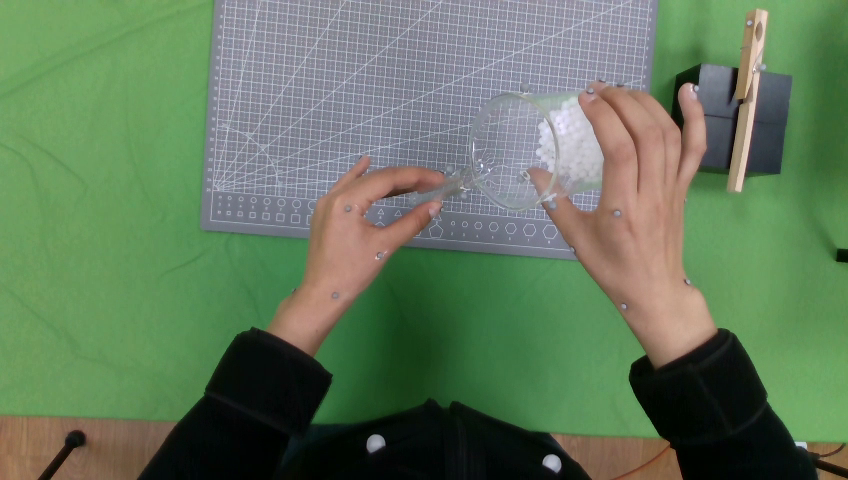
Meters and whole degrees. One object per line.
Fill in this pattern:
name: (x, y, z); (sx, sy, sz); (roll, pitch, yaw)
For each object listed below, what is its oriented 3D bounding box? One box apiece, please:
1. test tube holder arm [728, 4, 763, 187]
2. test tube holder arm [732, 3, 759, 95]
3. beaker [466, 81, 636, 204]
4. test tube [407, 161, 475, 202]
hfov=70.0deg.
test tube holder arm: (0.319, -0.142, 0.602); (0.013, 0.015, 0.178); (2, 95, -13)
test tube holder arm: (0.317, -0.187, 0.598); (0.010, 0.015, 0.088); (4, 94, -13)
beaker: (0.088, -0.068, 0.411); (0.100, 0.084, 0.074); (-16, 83, -39)
test tube: (0.010, -0.044, 0.485); (0.017, 0.150, 0.017); (0, 88, -15)
